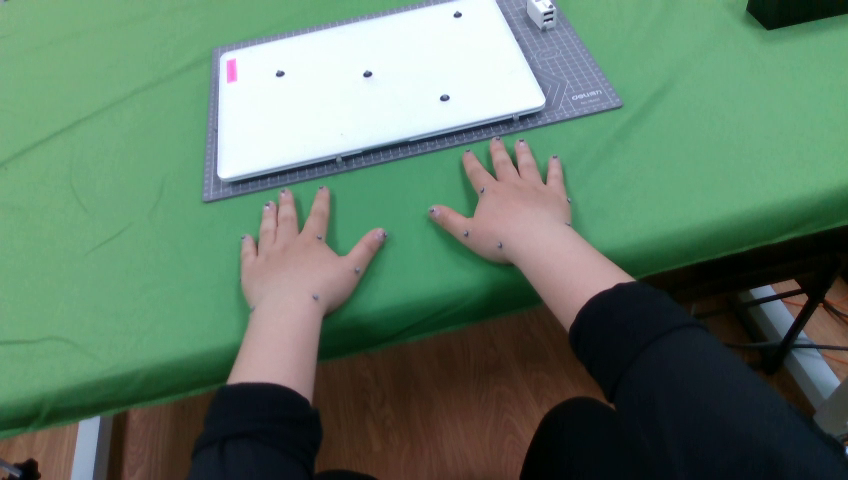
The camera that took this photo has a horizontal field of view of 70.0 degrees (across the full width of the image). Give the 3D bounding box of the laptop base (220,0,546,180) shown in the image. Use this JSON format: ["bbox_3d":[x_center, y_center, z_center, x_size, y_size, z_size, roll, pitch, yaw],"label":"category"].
[{"bbox_3d":[-0.061,-0.184,0.705,0.354,0.023,0.233,-14,53,-2],"label":"laptop base"}]

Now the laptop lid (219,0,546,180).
[{"bbox_3d":[-0.063,-0.189,0.695,0.357,0.013,0.239,-12,52,-1],"label":"laptop lid"}]

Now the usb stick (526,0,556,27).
[{"bbox_3d":[0.142,-0.290,0.751,0.021,0.027,0.058,-17,47,-4],"label":"usb stick"}]
